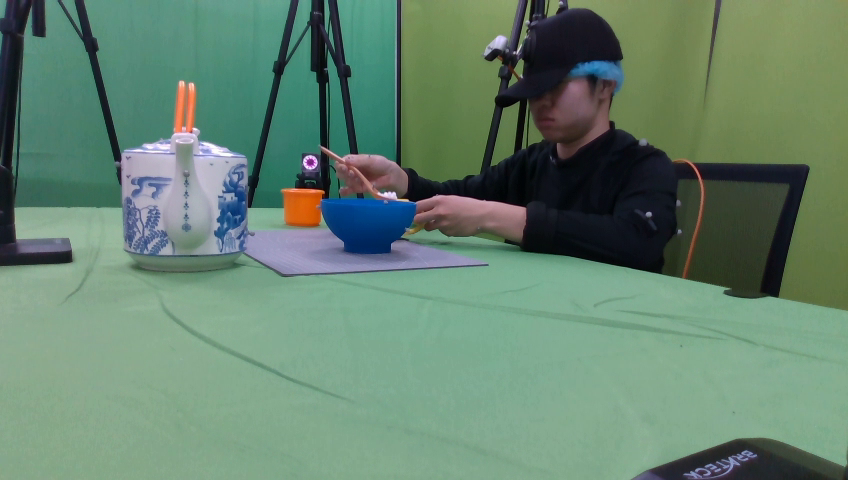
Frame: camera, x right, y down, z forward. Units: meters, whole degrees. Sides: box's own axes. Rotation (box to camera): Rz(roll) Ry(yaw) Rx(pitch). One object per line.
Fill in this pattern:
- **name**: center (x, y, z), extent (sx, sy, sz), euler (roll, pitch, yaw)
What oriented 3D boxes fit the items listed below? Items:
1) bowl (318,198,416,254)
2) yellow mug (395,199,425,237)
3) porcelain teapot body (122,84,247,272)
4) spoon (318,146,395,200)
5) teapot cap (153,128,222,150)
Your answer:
- **bowl**: center (-0.089, -0.022, 0.941), extent (0.151, 0.077, 0.151), euler (2, 7, 0)
- **yellow mug**: center (-0.061, -0.041, 1.116), extent (0.130, 0.064, 0.100), euler (0, 7, 11)
- **porcelain teapot body**: center (-0.286, -0.075, 0.733), extent (0.146, 0.225, 0.204), euler (0, 8, -24)
- **spoon**: center (-0.130, -0.127, 1.140), extent (0.193, 0.021, 0.042), euler (41, 11, 19)
- **teapot cap**: center (-0.294, -0.117, 0.754), extent (0.085, 0.044, 0.085), euler (5, 9, 0)
